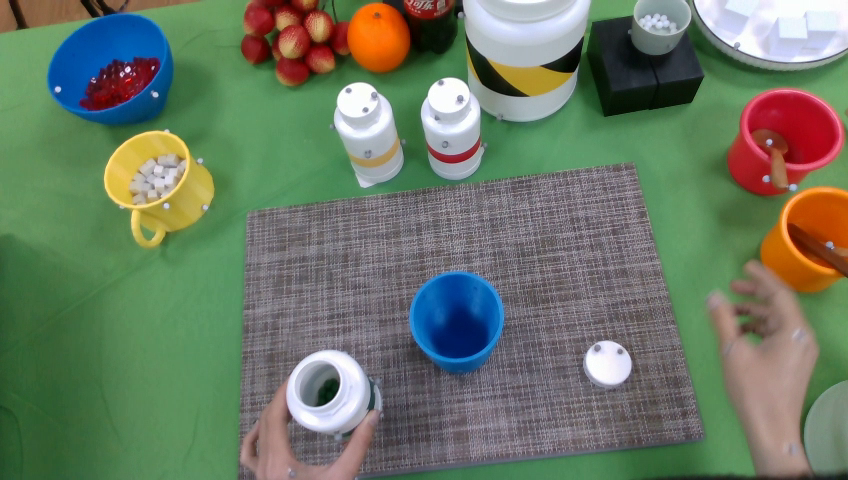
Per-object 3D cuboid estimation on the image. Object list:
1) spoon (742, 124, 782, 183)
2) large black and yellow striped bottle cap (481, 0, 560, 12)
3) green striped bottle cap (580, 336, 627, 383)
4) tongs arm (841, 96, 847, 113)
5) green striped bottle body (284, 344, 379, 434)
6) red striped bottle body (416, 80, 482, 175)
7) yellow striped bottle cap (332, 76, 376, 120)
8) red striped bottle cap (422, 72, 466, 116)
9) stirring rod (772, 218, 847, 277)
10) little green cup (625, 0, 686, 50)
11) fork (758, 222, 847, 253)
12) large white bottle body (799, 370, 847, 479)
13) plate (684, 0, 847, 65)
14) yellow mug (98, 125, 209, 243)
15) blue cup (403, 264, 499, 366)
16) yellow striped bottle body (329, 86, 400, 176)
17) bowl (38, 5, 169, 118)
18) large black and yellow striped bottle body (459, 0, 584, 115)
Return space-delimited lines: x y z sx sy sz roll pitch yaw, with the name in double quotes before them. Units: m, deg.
"spoon" 0.339 -0.089 0.599 0.041 0.193 0.022 25 117 15
"large black and yellow striped bottle cap" 0.095 -0.271 0.585 0.115 0.019 0.114 -2 66 6
"green striped bottle cap" 0.176 0.117 0.593 0.044 0.020 0.044 -2 51 3
"tongs arm" 0.548 0.002 0.598 0.051 0.027 0.381 -19 68 -4
"green striped bottle body" -0.077 0.125 0.506 0.063 0.120 0.062 -2 67 4
"red striped bottle body" 0.027 -0.127 0.660 0.063 0.121 0.062 -4 65 9
"yellow striped bottle cap" -0.072 -0.146 0.621 0.044 0.019 0.044 -2 69 4
"red striped bottle cap" 0.020 -0.148 0.612 0.044 0.018 0.044 -1 66 2
"stirring rod" 0.373 0.014 0.558 0.014 0.006 0.175 -5 24 2
"little green cup" 0.255 -0.245 0.674 0.061 0.039 0.061 -2 66 4
"fork" 0.403 0.012 0.548 0.028 0.019 0.205 -45 26 -11
"large white bottle body" 0.400 0.150 0.472 0.130 0.186 0.129 -2 67 6
"plate" 0.418 -0.293 0.732 0.209 0.038 0.207 -2 68 5
"yellow mug" -0.312 -0.060 0.695 0.100 0.064 0.130 3 69 6
"blue cup" 0.028 0.081 0.580 0.092 0.101 0.092 -1 66 4
"yellow striped bottle body" -0.066 -0.126 0.668 0.063 0.121 0.062 -2 67 6
"bowl" -0.382 -0.206 0.756 0.151 0.077 0.150 -2 68 4
"large black and yellow striped bottle body" 0.104 -0.240 0.663 0.130 0.185 0.130 -2 67 5
